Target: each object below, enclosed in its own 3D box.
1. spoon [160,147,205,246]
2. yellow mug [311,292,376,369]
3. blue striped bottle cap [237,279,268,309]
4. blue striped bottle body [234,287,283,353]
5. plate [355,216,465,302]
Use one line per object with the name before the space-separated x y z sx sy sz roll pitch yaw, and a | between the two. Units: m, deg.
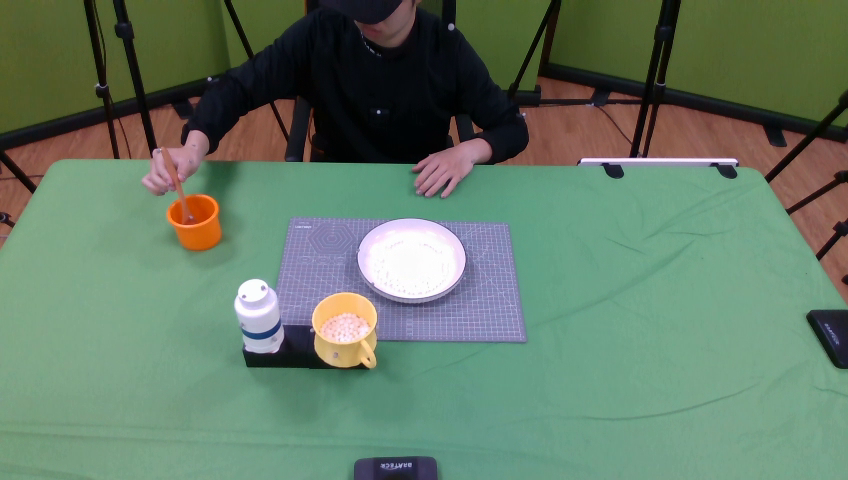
spoon | -0.449 -0.079 1.123 0.041 0.194 0.021 -24 29 -30
yellow mug | -0.115 0.150 0.945 0.100 0.064 0.130 -30 57 -28
blue striped bottle cap | -0.252 0.079 0.892 0.044 0.021 0.044 4 47 -4
blue striped bottle body | -0.254 0.114 0.929 0.063 0.121 0.062 2 46 -2
plate | -0.027 0.039 1.144 0.208 0.039 0.206 2 46 -2
